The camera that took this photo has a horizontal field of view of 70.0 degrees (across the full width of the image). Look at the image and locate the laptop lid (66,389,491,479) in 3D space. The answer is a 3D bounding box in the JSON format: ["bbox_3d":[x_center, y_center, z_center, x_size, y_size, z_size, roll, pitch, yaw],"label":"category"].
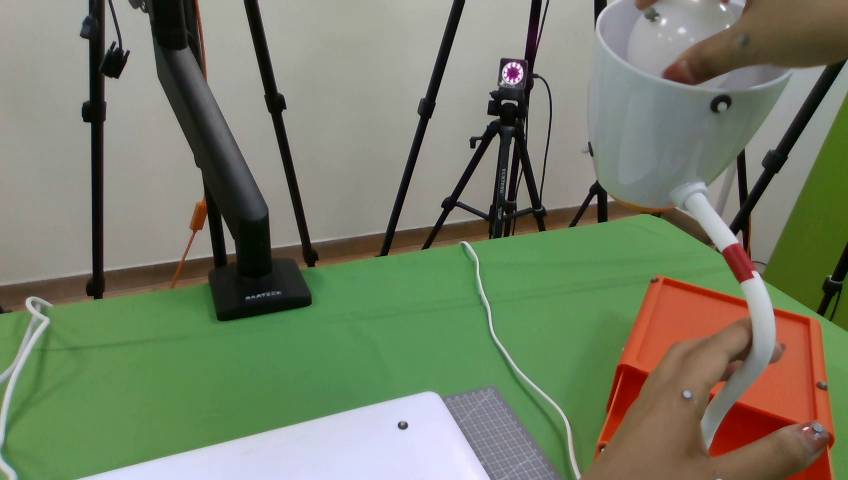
[{"bbox_3d":[-0.104,0.236,0.485,0.358,0.013,0.239,-8,32,-21],"label":"laptop lid"}]

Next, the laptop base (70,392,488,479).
[{"bbox_3d":[-0.106,0.245,0.492,0.356,0.023,0.233,-8,34,-23],"label":"laptop base"}]

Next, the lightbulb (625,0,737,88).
[{"bbox_3d":[0.148,-0.093,0.366,0.059,0.109,0.059,-3,47,3],"label":"lightbulb"}]

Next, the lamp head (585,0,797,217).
[{"bbox_3d":[0.154,-0.075,0.382,0.112,0.124,0.111,-1,42,1],"label":"lamp head"}]

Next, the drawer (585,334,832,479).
[{"bbox_3d":[0.279,0.187,0.594,0.193,0.074,0.211,15,29,21],"label":"drawer"}]

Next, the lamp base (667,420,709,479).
[{"bbox_3d":[0.172,0.223,0.396,0.161,0.181,0.177,1,26,-8],"label":"lamp base"}]

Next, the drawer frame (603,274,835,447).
[{"bbox_3d":[0.329,0.141,0.683,0.200,0.083,0.213,16,29,22],"label":"drawer frame"}]

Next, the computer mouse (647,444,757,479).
[{"bbox_3d":[0.257,0.225,0.549,0.117,0.041,0.062,16,29,14],"label":"computer mouse"}]
